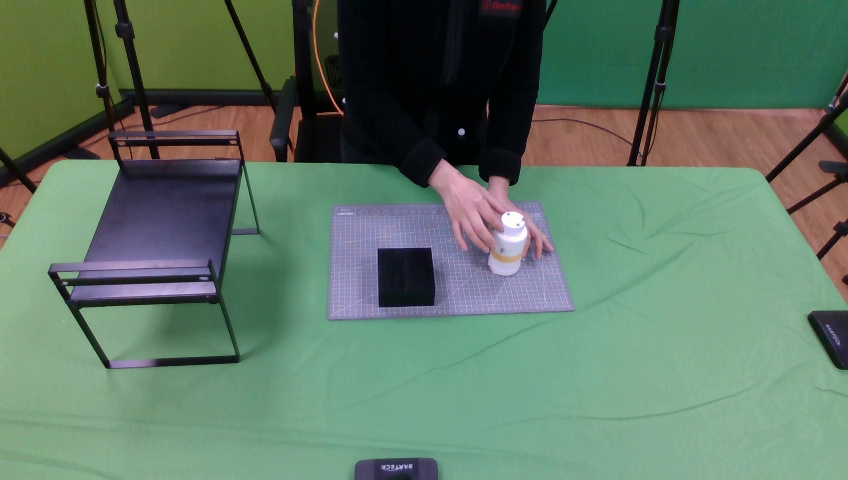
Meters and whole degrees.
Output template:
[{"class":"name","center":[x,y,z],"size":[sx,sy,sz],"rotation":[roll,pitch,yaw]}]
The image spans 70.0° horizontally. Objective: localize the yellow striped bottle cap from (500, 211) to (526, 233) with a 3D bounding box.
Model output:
[{"class":"yellow striped bottle cap","center":[0.161,-0.033,1.091],"size":[0.044,0.019,0.044],"rotation":[4,44,-4]}]

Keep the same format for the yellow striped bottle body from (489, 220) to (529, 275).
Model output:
[{"class":"yellow striped bottle body","center":[0.158,0.004,1.130],"size":[0.063,0.121,0.062],"rotation":[2,46,-2]}]
